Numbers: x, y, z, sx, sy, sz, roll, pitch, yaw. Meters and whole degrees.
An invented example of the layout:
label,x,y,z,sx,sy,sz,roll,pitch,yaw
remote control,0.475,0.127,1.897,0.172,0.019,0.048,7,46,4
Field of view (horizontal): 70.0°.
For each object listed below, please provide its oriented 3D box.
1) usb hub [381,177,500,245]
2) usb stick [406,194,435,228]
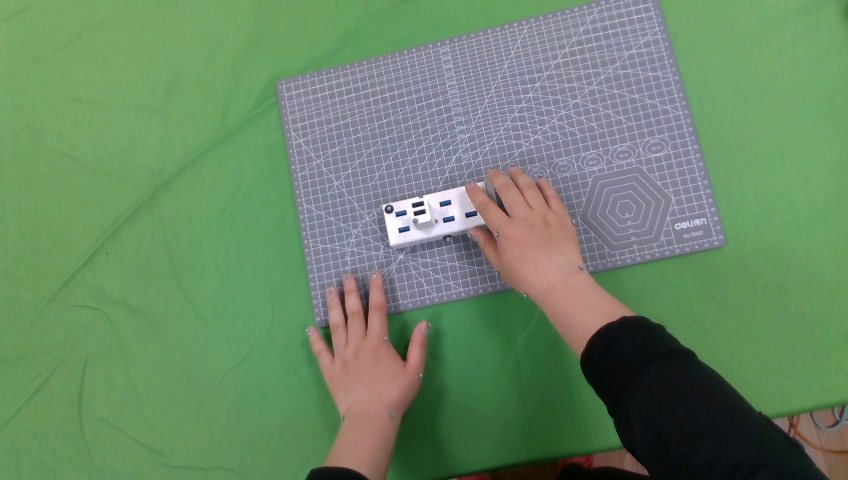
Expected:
label,x,y,z,sx,sy,sz,roll,pitch,yaw
usb hub,0.018,-0.032,0.665,0.125,0.025,0.049,-13,80,6
usb stick,-0.002,-0.029,0.638,0.021,0.059,0.027,-16,78,6
